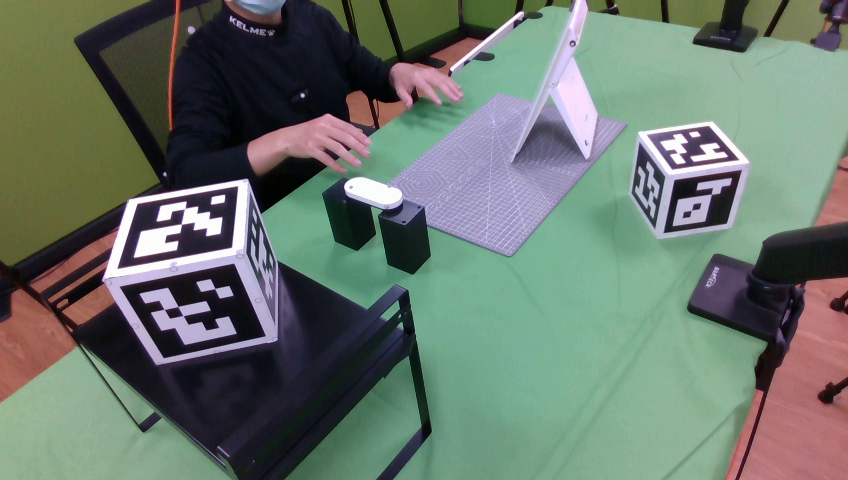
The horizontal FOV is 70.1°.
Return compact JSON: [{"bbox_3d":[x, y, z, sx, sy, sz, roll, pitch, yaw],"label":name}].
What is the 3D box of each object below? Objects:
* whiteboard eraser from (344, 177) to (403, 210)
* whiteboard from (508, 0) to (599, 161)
[{"bbox_3d":[-0.077,-0.071,0.911,0.100,0.019,0.041,20,50,29],"label":"whiteboard eraser"},{"bbox_3d":[0.285,-0.289,1.090,0.144,0.305,0.217,22,45,3],"label":"whiteboard"}]
